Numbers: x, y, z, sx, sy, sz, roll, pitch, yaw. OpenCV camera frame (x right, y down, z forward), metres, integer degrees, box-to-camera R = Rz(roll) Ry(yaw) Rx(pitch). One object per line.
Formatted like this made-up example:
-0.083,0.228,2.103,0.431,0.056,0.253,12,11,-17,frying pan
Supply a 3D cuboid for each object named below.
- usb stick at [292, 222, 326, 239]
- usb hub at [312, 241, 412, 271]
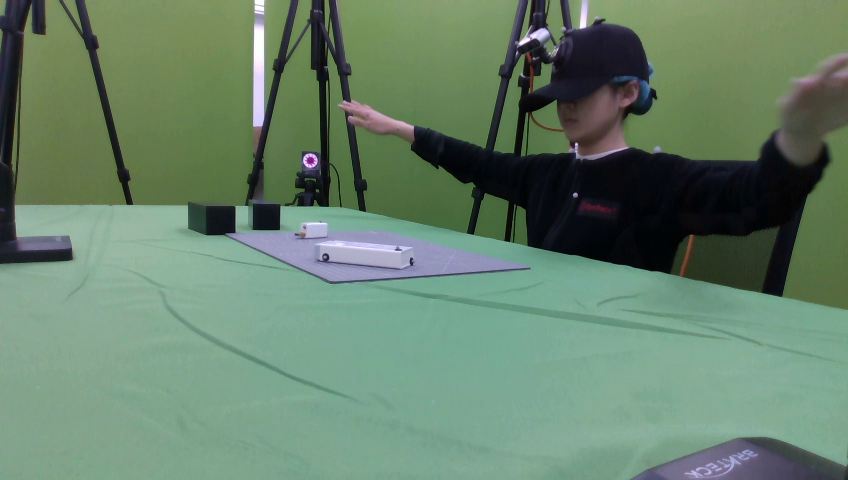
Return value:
-0.198,-0.016,1.036,0.021,0.027,0.059,14,15,41,usb stick
-0.082,0.020,0.804,0.125,0.025,0.049,5,8,17,usb hub
